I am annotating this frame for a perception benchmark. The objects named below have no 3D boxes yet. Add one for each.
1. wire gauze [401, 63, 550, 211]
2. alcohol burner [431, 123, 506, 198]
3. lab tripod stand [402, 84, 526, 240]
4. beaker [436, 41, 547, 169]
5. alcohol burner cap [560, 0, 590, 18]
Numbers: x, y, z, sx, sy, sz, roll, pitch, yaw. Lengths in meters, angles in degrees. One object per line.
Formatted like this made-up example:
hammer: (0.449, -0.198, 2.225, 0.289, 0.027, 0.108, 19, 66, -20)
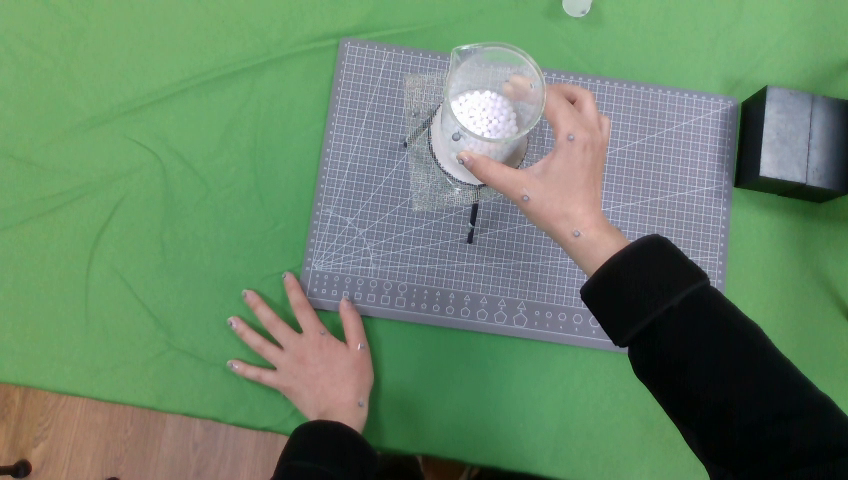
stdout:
wire gauze: (0.044, -0.092, 0.527, 0.121, 0.011, 0.125, -5, 86, -2)
alcohol burner: (0.046, -0.084, 0.602, 0.078, 0.119, 0.077, 0, 80, -2)
lab tripod stand: (0.045, -0.081, 0.591, 0.148, 0.131, 0.148, 1, 83, -4)
beaker: (0.045, -0.103, 0.480, 0.074, 0.100, 0.084, -40, 87, -7)
alcohol burner cap: (0.173, -0.273, 0.671, 0.034, 0.048, 0.034, 0, 83, 0)
